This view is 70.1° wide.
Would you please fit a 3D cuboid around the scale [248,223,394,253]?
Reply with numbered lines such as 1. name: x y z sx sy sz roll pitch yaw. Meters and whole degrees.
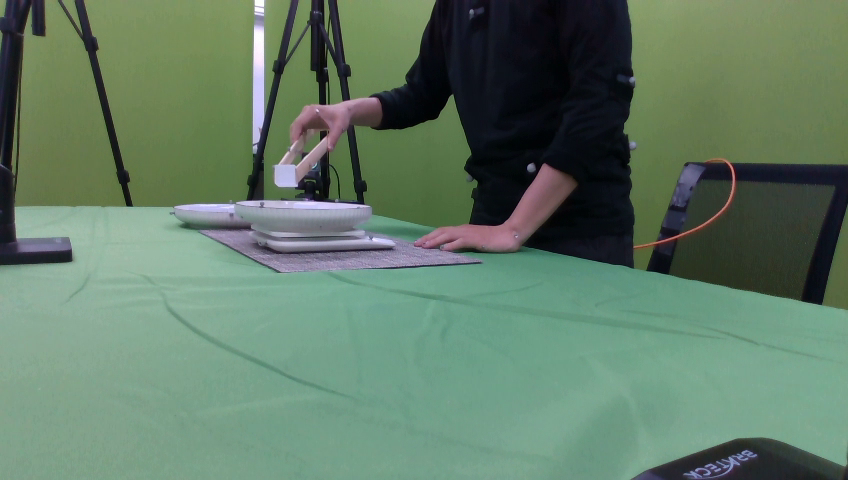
1. scale: -0.162 -0.006 0.954 0.202 0.031 0.148 -2 8 -32

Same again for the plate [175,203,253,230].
1. plate: -0.381 -0.047 1.199 0.208 0.039 0.207 3 7 0

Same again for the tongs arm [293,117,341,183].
1. tongs arm: -0.198 -0.180 1.148 0.028 0.028 0.387 -5 23 6

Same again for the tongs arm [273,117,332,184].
1. tongs arm: -0.222 -0.179 1.150 0.051 0.026 0.384 -4 23 0

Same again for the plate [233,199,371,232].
1. plate: -0.188 -0.039 0.939 0.209 0.038 0.209 2 7 0
